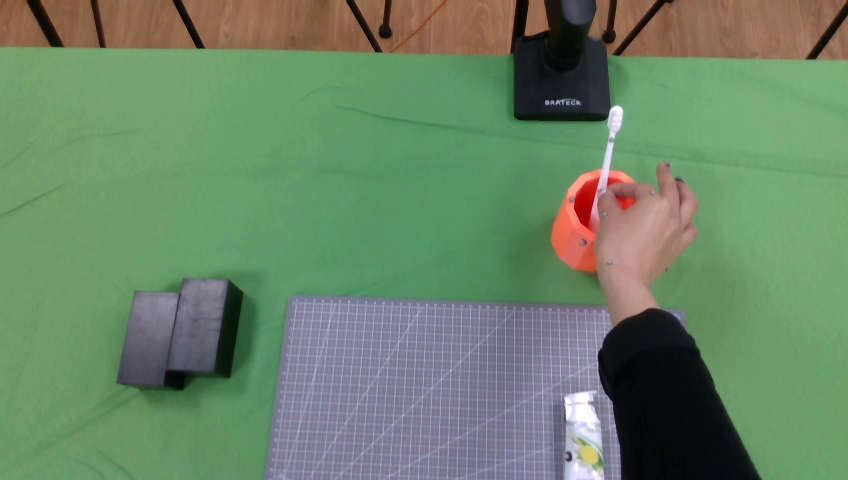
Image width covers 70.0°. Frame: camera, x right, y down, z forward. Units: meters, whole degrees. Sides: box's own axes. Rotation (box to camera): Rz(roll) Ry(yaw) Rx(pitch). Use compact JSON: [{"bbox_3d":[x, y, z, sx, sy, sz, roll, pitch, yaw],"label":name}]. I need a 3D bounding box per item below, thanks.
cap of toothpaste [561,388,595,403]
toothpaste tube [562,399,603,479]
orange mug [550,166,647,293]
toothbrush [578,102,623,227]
[{"bbox_3d":[0.162,0.164,0.637,0.037,0.037,0.011,-10,67,-2],"label":"cap of toothpaste"},{"bbox_3d":[0.159,0.242,0.615,0.055,0.035,0.164,-1,74,9],"label":"toothpaste tube"},{"bbox_3d":[0.196,-0.007,0.668,0.083,0.101,0.125,-18,66,-5],"label":"orange mug"},{"bbox_3d":[0.181,-0.056,0.643,0.014,0.183,0.016,-3,34,-16],"label":"toothbrush"}]
